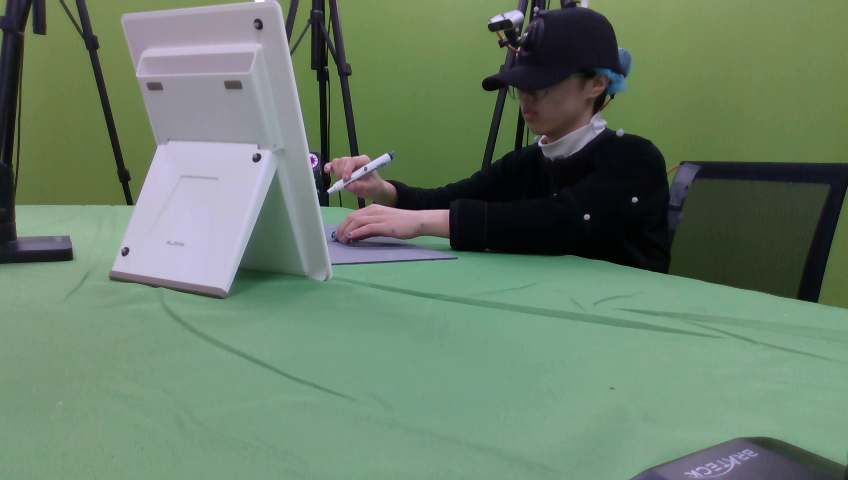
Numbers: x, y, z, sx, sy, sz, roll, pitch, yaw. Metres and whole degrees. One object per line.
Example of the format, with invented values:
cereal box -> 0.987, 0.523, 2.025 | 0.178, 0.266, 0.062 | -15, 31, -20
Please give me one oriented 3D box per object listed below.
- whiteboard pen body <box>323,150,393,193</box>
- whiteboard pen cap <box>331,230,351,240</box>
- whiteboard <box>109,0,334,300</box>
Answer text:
whiteboard pen body -> -0.115, -0.117, 1.048 | 0.141, 0.017, 0.017 | -33, 19, -16
whiteboard pen cap -> -0.139, -0.008, 1.011 | 0.033, 0.018, 0.018 | 2, 6, 37
whiteboard -> -0.247, -0.072, 0.624 | 0.216, 0.305, 0.144 | 6, 28, 26
